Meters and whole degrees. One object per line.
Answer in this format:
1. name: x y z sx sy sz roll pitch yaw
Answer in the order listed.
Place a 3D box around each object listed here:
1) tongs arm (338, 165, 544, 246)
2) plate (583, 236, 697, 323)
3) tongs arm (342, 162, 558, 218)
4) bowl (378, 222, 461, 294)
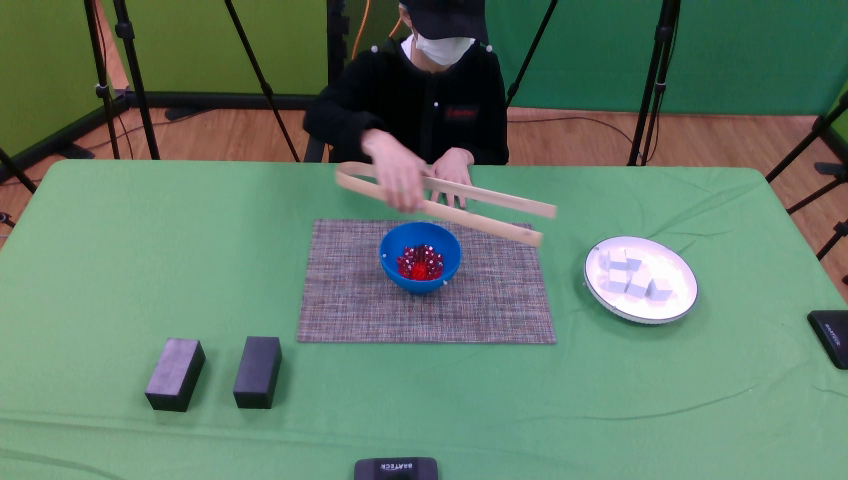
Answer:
1. tongs arm: 0.017 -0.062 1.008 0.384 0.026 0.050 16 34 18
2. plate: 0.403 0.077 1.144 0.209 0.038 0.208 2 45 -2
3. tongs arm: 0.040 -0.088 1.055 0.387 0.028 0.028 13 37 12
4. bowl: -0.010 0.046 1.110 0.151 0.077 0.150 2 46 -2
